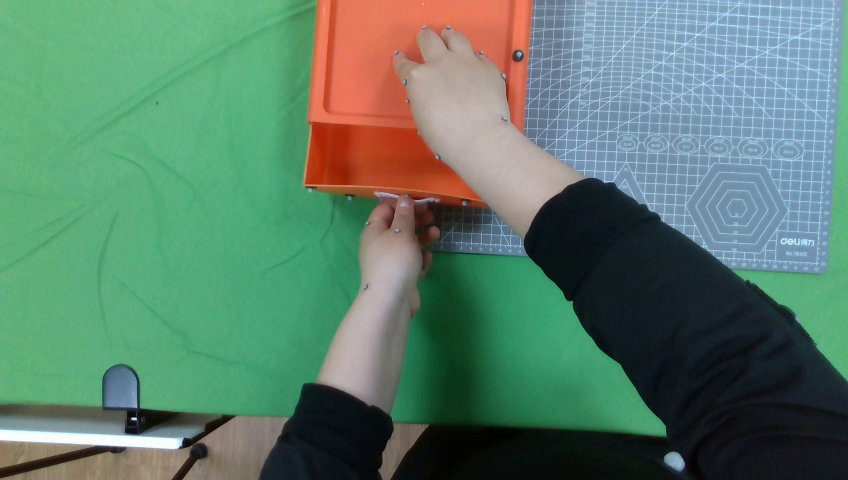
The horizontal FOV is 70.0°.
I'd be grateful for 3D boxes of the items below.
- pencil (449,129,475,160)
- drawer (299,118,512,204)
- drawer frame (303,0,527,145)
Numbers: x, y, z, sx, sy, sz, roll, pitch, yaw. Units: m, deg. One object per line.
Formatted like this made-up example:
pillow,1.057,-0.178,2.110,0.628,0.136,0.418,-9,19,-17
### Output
pencil,-0.004,-0.159,0.603,0.012,0.012,0.194,-35,88,4
drawer,-0.008,-0.145,0.584,0.194,0.073,0.211,5,89,5
drawer frame,-0.004,-0.206,0.581,0.201,0.083,0.213,3,90,5
